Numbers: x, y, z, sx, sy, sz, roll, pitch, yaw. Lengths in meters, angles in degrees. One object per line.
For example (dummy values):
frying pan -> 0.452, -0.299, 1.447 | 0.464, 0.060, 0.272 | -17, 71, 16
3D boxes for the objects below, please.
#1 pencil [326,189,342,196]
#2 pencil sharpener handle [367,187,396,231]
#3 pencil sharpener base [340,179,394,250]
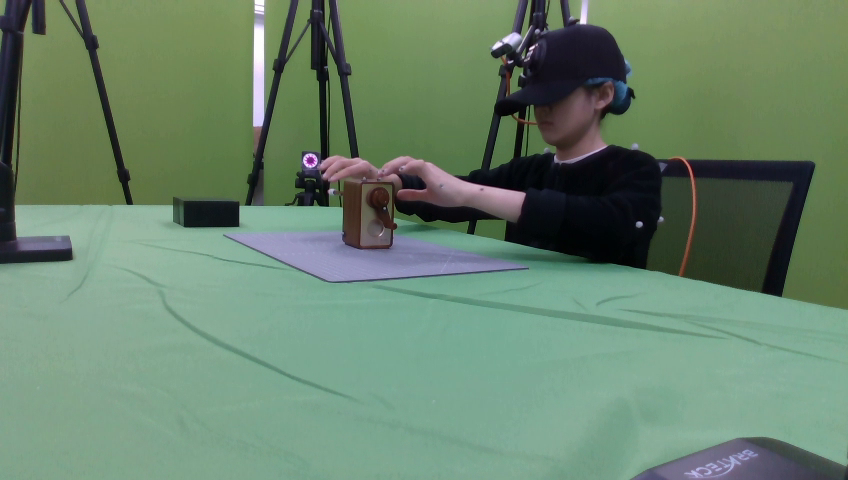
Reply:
pencil -> -0.129, -0.077, 1.027 | 0.012, 0.012, 0.193 | -1, 8, -29
pencil sharpener handle -> -0.060, -0.047, 0.916 | 0.036, 0.068, 0.030 | -22, 19, -25
pencil sharpener base -> -0.090, -0.041, 0.959 | 0.061, 0.107, 0.076 | -1, 9, -30
